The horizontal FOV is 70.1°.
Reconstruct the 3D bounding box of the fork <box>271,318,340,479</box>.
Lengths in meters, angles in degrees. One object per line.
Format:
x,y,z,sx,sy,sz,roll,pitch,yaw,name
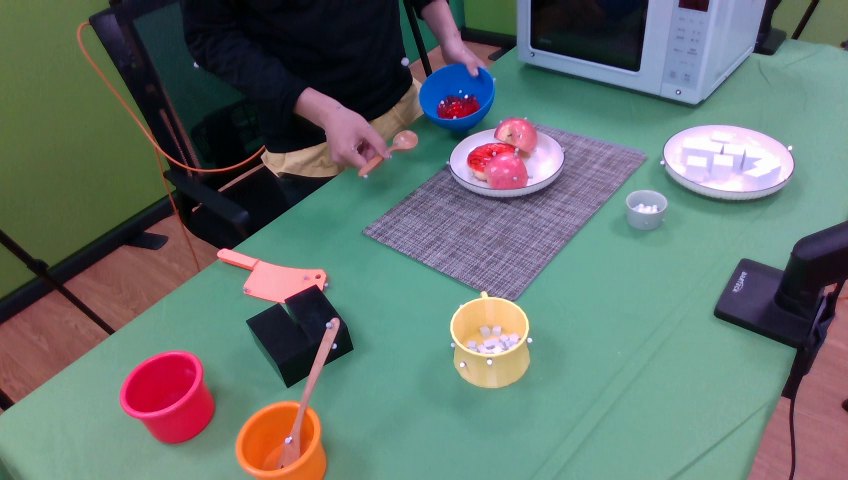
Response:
-0.132,0.186,0.676,0.028,0.019,0.207,18,90,28,fork

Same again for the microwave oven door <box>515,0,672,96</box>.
0.343,-0.454,1.259,0.353,0.245,0.039,26,51,33,microwave oven door

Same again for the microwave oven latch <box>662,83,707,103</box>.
0.517,-0.296,1.204,0.078,0.029,0.030,27,52,35,microwave oven latch

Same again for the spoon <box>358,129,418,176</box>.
-0.062,-0.149,1.016,0.041,0.021,0.194,30,34,10,spoon

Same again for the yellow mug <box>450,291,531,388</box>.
0.085,0.120,0.786,0.100,0.064,0.130,-7,39,1,yellow mug

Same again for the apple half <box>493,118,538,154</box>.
0.175,-0.197,1.114,0.080,0.053,0.075,29,12,34,apple half

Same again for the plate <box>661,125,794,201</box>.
0.513,-0.128,1.035,0.207,0.039,0.206,-4,40,4,plate

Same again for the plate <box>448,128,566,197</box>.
0.150,-0.138,1.096,0.209,0.038,0.208,-4,40,4,plate

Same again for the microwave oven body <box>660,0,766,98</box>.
0.472,-0.513,1.317,0.438,0.261,0.327,26,51,34,microwave oven body

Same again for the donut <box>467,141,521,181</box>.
0.127,-0.144,1.090,0.099,0.048,0.098,-5,39,5,donut

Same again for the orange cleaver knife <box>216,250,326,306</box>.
-0.248,0.058,0.945,0.210,0.012,0.077,13,49,20,orange cleaver knife

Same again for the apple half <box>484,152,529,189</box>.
0.144,-0.117,1.032,0.081,0.033,0.081,3,78,-11,apple half

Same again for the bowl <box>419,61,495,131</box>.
0.071,-0.270,1.192,0.151,0.077,0.150,-6,58,11,bowl

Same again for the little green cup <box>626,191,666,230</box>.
0.352,-0.046,0.963,0.061,0.039,0.061,-4,40,4,little green cup
